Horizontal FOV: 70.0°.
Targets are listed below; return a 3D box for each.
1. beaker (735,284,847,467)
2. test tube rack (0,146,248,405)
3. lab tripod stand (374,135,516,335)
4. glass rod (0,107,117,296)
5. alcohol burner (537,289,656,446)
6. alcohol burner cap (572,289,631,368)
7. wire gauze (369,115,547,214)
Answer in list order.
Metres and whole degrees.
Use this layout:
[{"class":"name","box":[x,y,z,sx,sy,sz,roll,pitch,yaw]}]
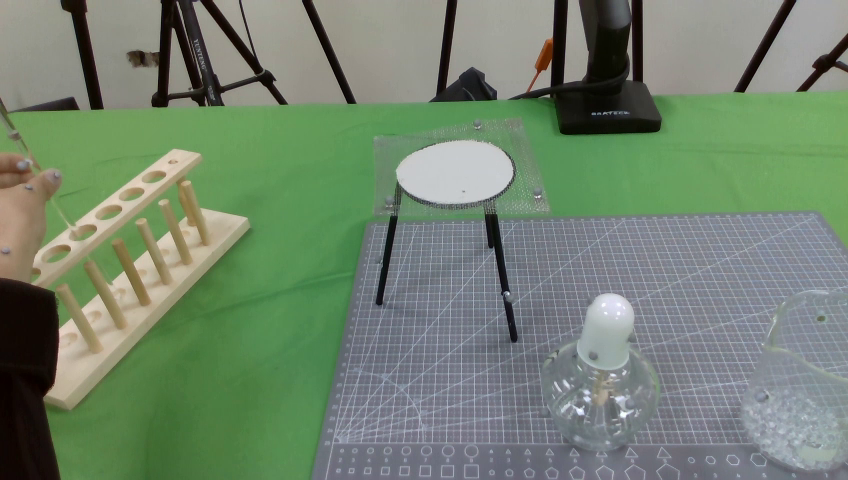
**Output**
[{"class":"beaker","box":[0.243,0.090,0.384,0.084,0.101,0.073,-4,39,3]},{"class":"test tube rack","box":[-0.263,0.017,0.536,0.066,0.086,0.241,12,42,19]},{"class":"lab tripod stand","box":[0.024,-0.006,0.494,0.148,0.133,0.147,-3,41,3]},{"class":"glass rod","box":[-0.292,-0.024,0.484,0.008,0.201,0.008,-4,42,4]},{"class":"alcohol burner","box":[0.114,0.080,0.397,0.078,0.120,0.077,-3,38,3]},{"class":"alcohol burner cap","box":[0.111,0.053,0.374,0.034,0.048,0.033,0,37,1]},{"class":"wire gauze","box":[0.019,-0.057,0.451,0.125,0.011,0.120,-5,39,1]}]
